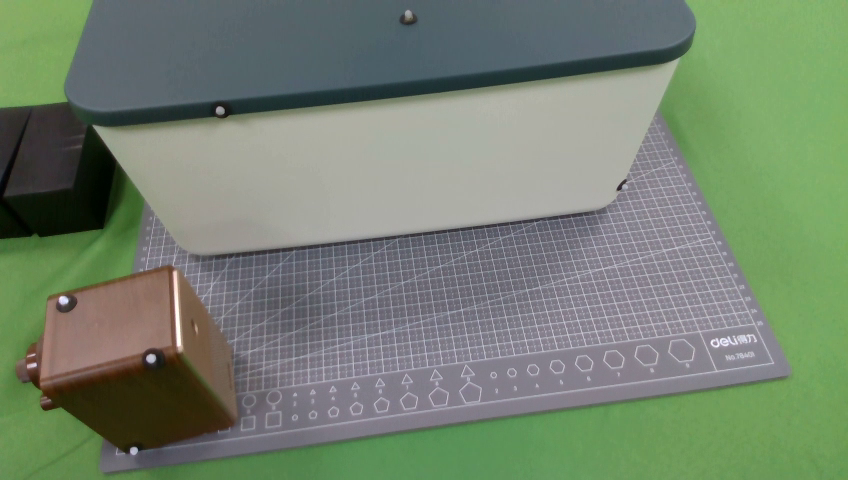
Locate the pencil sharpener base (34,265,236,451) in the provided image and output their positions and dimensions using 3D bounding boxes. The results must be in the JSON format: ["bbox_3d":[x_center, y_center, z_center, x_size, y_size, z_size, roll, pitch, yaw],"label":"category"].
[{"bbox_3d":[-0.164,0.073,0.356,0.077,0.108,0.060,-14,55,-8],"label":"pencil sharpener base"}]

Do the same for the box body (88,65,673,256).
[{"bbox_3d":[-0.032,-0.140,0.475,0.364,0.162,0.251,-7,54,-4],"label":"box body"}]

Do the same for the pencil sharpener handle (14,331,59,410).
[{"bbox_3d":[-0.214,0.078,0.339,0.031,0.068,0.035,-14,57,-8],"label":"pencil sharpener handle"}]

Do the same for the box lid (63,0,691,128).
[{"bbox_3d":[-0.036,-0.185,0.415,0.372,0.015,0.260,-7,54,-3],"label":"box lid"}]
